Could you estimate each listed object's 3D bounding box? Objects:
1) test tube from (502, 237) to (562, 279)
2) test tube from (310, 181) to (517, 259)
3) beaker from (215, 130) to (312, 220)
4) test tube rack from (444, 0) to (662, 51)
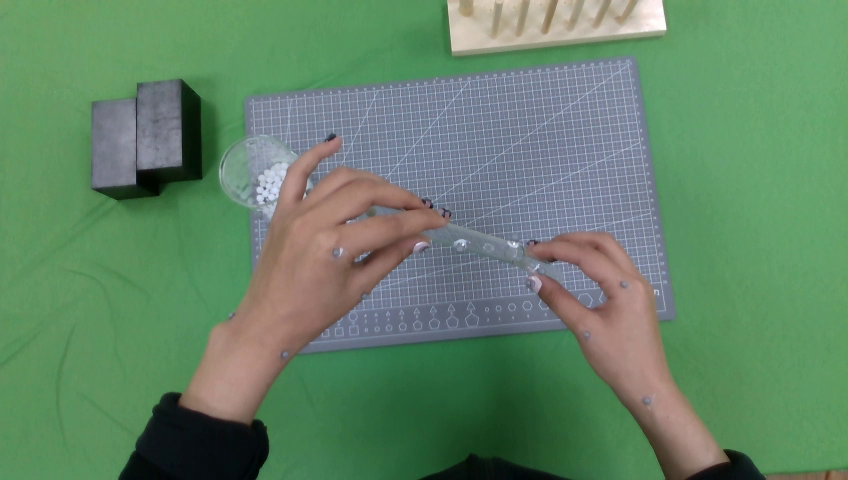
[{"bbox_3d":[0.090,0.017,0.486,0.017,0.151,0.017,-4,79,23],"label":"test tube"},{"bbox_3d":[-0.009,-0.015,0.422,0.150,0.017,0.017,17,82,6],"label":"test tube"},{"bbox_3d":[-0.159,-0.064,0.633,0.084,0.100,0.073,-13,81,0],"label":"beaker"},{"bbox_3d":[0.144,-0.268,0.661,0.242,0.085,0.066,-5,81,2],"label":"test tube rack"}]
